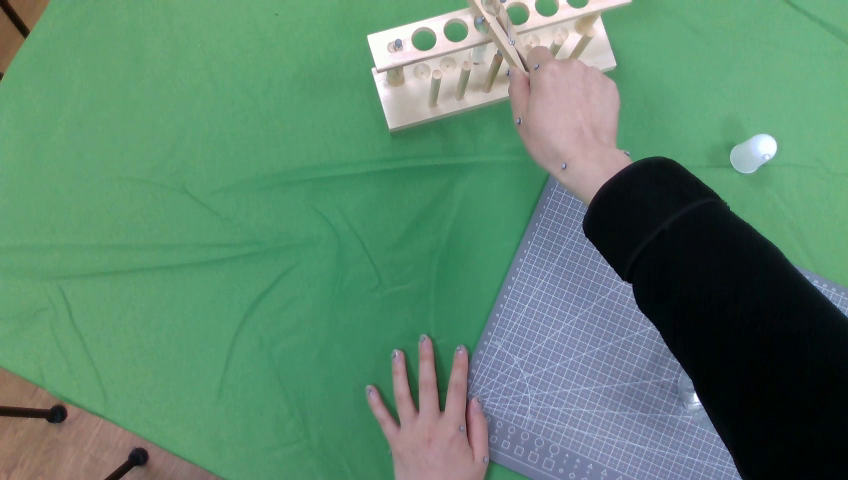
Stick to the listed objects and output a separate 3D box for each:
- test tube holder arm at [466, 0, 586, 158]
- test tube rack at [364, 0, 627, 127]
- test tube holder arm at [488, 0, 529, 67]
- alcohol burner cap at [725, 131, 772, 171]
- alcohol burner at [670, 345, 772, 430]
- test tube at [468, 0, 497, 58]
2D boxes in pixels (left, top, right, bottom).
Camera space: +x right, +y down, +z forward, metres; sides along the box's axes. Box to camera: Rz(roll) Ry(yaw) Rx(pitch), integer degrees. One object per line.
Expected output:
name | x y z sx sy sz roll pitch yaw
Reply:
test tube holder arm | 0.084 -0.145 0.516 0.013 0.015 0.177 -29 81 -10
test tube rack | 0.069 -0.183 0.585 0.242 0.085 0.066 -16 85 -4
test tube holder arm | 0.069 -0.186 0.525 0.010 0.015 0.087 -20 79 -9
alcohol burner cap | 0.330 -0.092 0.609 0.034 0.048 0.033 0 79 -1
alcohol burner | 0.274 0.135 0.548 0.078 0.119 0.077 0 82 -2
test tube | 0.054 -0.203 0.535 0.017 0.150 0.017 1 77 -3
